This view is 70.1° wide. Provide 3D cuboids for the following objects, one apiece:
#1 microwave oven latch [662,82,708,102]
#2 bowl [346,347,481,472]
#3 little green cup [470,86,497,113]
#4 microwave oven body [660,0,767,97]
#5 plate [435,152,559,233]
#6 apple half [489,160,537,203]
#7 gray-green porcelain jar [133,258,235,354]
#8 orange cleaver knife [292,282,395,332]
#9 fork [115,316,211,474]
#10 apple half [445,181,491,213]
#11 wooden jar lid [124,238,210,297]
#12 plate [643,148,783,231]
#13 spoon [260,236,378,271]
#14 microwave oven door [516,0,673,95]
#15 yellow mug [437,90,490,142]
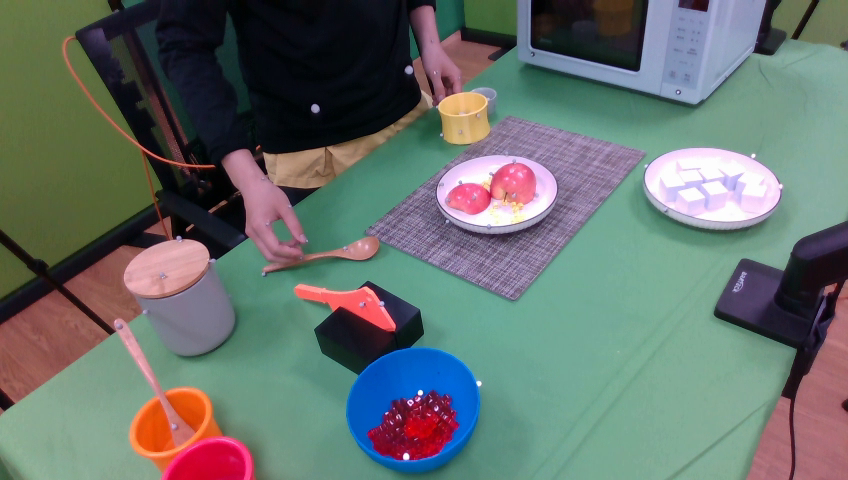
[{"bbox_3d":[0.517,-0.298,1.202,0.078,0.029,0.030,27,52,34],"label":"microwave oven latch"},{"bbox_3d":[-0.008,0.205,0.691,0.151,0.077,0.150,-4,40,4],"label":"bowl"},{"bbox_3d":[0.124,-0.298,1.284,0.061,0.039,0.061,-4,39,4],"label":"little green cup"},{"bbox_3d":[0.474,-0.516,1.313,0.438,0.261,0.327,26,51,34],"label":"microwave oven body"},{"bbox_3d":[0.124,-0.078,1.026,0.209,0.038,0.208,-4,40,4],"label":"plate"},{"bbox_3d":[0.154,-0.106,1.030,0.080,0.053,0.075,22,46,31],"label":"apple half"},{"bbox_3d":[-0.328,0.087,0.836,0.106,0.127,0.105,-4,41,4],"label":"gray-green porcelain jar"},{"bbox_3d":[-0.116,0.091,0.835,0.209,0.077,0.012,2,32,48],"label":"orange cleaver knife"},{"bbox_3d":[-0.308,0.179,0.708,0.028,0.018,0.207,-30,89,-22],"label":"fork"},{"bbox_3d":[0.077,-0.083,1.029,0.081,0.033,0.081,-2,41,2],"label":"apple half"},{"bbox_3d":[-0.334,0.038,0.794,0.108,0.021,0.108,-2,40,2],"label":"wooden jar lid"},{"bbox_3d":[0.464,-0.080,0.986,0.207,0.039,0.206,-4,41,4],"label":"plate"},{"bbox_3d":[-0.167,0.024,0.966,0.194,0.022,0.041,-9,56,-3],"label":"spoon"},{"bbox_3d":[0.344,-0.458,1.256,0.353,0.245,0.039,26,51,33],"label":"microwave oven door"},{"bbox_3d":[0.070,-0.257,1.224,0.100,0.064,0.129,-33,43,-25],"label":"yellow mug"}]
